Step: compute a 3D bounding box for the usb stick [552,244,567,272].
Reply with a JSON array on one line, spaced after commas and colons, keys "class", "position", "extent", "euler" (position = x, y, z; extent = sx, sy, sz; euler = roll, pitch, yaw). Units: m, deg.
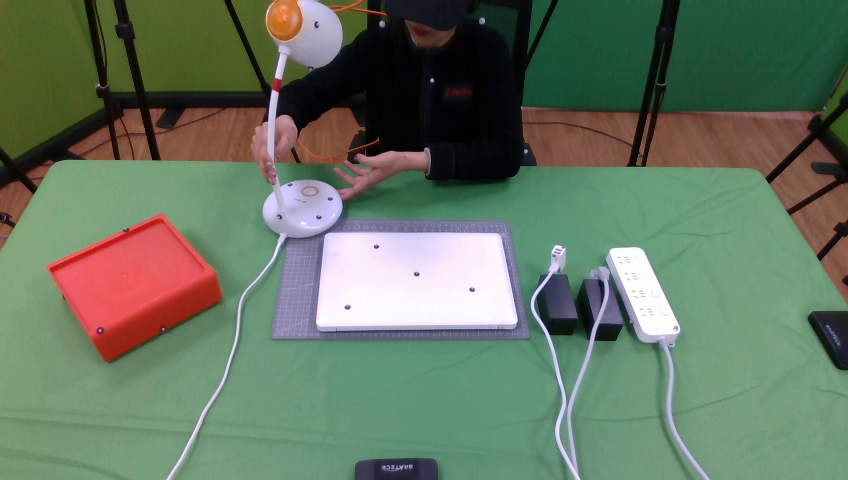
[{"class": "usb stick", "position": [0.251, 0.039, 1.123], "extent": [0.021, 0.059, 0.027], "euler": [14, 47, 24]}]

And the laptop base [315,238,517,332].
[{"class": "laptop base", "position": [-0.016, 0.075, 1.125], "extent": [0.355, 0.023, 0.234], "euler": [0, 42, -4]}]

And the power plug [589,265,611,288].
[{"class": "power plug", "position": [0.318, 0.073, 1.108], "extent": [0.035, 0.053, 0.072], "euler": [26, 34, 13]}]

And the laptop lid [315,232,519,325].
[{"class": "laptop lid", "position": [-0.015, 0.065, 1.118], "extent": [0.357, 0.013, 0.240], "euler": [1, 43, -3]}]

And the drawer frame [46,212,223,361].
[{"class": "drawer frame", "position": [-0.496, 0.072, 1.049], "extent": [0.213, 0.083, 0.200], "euler": [-33, 56, -29]}]

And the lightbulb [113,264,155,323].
[{"class": "lightbulb", "position": [-0.493, 0.090, 1.045], "extent": [0.059, 0.060, 0.107], "euler": [9, 62, 5]}]

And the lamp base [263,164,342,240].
[{"class": "lamp base", "position": [-0.251, -0.108, 1.168], "extent": [0.160, 0.181, 0.178], "euler": [10, 52, 10]}]

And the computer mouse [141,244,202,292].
[{"class": "computer mouse", "position": [-0.460, 0.044, 1.099], "extent": [0.116, 0.041, 0.063], "euler": [30, 52, 29]}]

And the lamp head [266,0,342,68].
[{"class": "lamp head", "position": [-0.212, -0.353, 1.021], "extent": [0.112, 0.112, 0.123], "euler": [19, 14, 14]}]

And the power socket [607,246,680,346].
[{"class": "power socket", "position": [0.403, 0.096, 1.123], "extent": [0.072, 0.033, 0.225], "euler": [-3, 46, -5]}]

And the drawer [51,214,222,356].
[{"class": "drawer", "position": [-0.495, 0.071, 1.053], "extent": [0.212, 0.073, 0.193], "euler": [-32, 57, -29]}]
